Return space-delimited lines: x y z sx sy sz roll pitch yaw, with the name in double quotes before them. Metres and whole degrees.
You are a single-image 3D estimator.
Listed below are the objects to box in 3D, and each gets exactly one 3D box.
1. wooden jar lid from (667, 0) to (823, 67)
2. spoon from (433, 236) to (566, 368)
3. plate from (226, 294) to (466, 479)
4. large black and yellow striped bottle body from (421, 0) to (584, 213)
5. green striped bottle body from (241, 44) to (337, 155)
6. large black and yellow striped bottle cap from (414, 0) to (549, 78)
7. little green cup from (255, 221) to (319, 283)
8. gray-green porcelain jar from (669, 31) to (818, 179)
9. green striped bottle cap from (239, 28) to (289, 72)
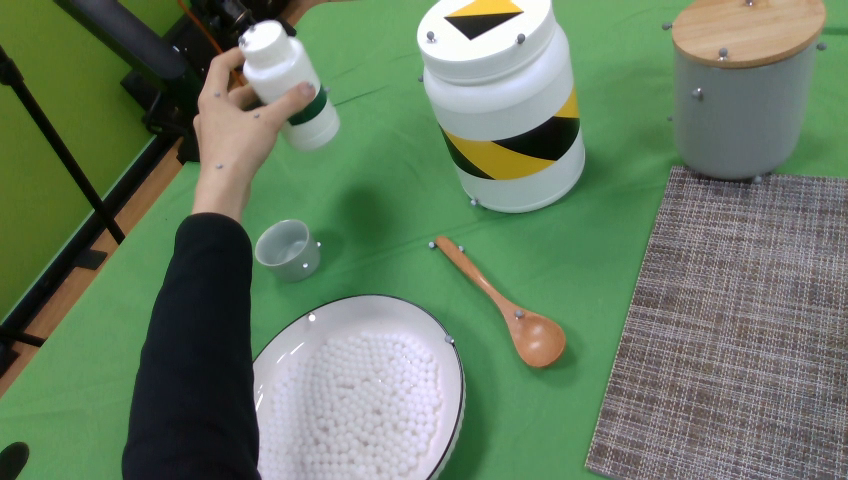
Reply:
"wooden jar lid" 0.250 -0.167 0.478 0.108 0.021 0.107 -14 46 15
"spoon" 0.060 0.045 0.543 0.041 0.022 0.191 -50 49 7
"plate" -0.062 0.142 0.505 0.209 0.038 0.207 -11 49 14
"large black and yellow striped bottle body" 0.074 -0.129 0.568 0.130 0.186 0.129 -11 50 14
"green striped bottle body" -0.139 -0.148 0.612 0.063 0.120 0.062 -9 52 13
"large black and yellow striped bottle cap" 0.047 -0.178 0.507 0.115 0.019 0.114 -11 49 13
"little green cup" -0.142 0.014 0.641 0.061 0.039 0.061 -12 48 14
"gray-green porcelain jar" 0.268 -0.125 0.522 0.106 0.128 0.105 -11 46 12
"green striped bottle cap" -0.151 -0.179 0.572 0.044 0.020 0.044 -8 54 12
